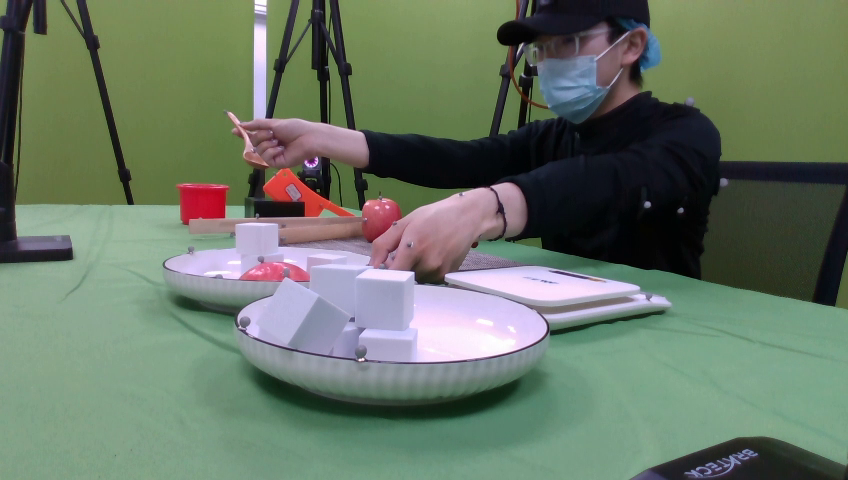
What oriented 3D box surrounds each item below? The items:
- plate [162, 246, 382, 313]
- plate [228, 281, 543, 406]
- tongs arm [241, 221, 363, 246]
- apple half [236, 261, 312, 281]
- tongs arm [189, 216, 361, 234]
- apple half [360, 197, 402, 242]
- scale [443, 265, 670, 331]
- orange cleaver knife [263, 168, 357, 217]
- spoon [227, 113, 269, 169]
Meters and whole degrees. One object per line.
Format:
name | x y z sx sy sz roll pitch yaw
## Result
plate | -0.146 0.038 0.599 0.209 0.038 0.209 2 7 0
plate | -0.025 0.067 0.413 0.208 0.039 0.207 3 7 0
tongs arm | -0.159 -0.018 1.034 0.028 0.028 0.389 1 5 33
apple half | -0.142 0.036 0.578 0.081 0.033 0.081 2 11 0
tongs arm | -0.220 -0.028 1.088 0.387 0.026 0.050 -4 8 -43
apple half | -0.066 -0.033 1.014 0.053 0.074 0.081 10 6 21
scale | 0.131 0.052 0.602 0.202 0.031 0.148 -2 9 -37
orange cleaver knife | -0.240 -0.078 1.294 0.212 0.077 0.012 32 -7 -26
spoon | -0.304 -0.172 1.028 0.042 0.021 0.193 11 32 -40
